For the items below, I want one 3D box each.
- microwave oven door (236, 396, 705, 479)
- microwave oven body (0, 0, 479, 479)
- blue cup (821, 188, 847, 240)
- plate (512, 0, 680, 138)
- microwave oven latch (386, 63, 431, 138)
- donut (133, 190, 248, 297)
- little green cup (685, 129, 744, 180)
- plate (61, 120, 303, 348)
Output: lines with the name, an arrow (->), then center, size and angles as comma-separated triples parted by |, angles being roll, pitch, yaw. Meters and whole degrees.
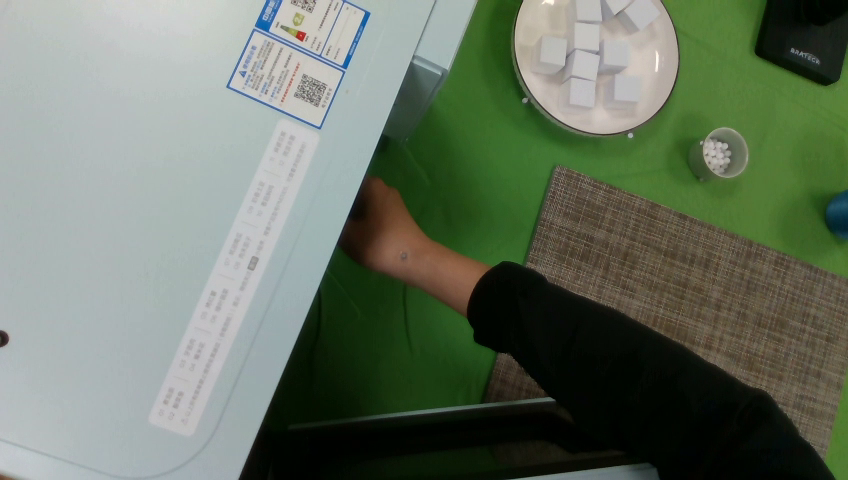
microwave oven door -> 0.019, 0.193, 0.537 | 0.357, 0.243, 0.039 | -3, 86, -11
microwave oven body -> -0.202, -0.051, 0.512 | 0.327, 0.260, 0.440 | 23, 83, -9
blue cup -> 0.554, -0.034, 0.745 | 0.093, 0.100, 0.092 | 0, 88, -11
plate -> 0.200, -0.221, 0.718 | 0.208, 0.039, 0.207 | 1, 86, -11
microwave oven latch -> -0.020, -0.151, 0.652 | 0.030, 0.029, 0.079 | 27, 83, -9
donut -> -0.209, 0.004, 0.546 | 0.099, 0.048, 0.098 | 2, 75, -8
little green cup -> 0.353, -0.102, 0.742 | 0.062, 0.038, 0.061 | 1, 86, -11
plate -> -0.218, -0.005, 0.562 | 0.209, 0.038, 0.208 | 1, 84, -9
